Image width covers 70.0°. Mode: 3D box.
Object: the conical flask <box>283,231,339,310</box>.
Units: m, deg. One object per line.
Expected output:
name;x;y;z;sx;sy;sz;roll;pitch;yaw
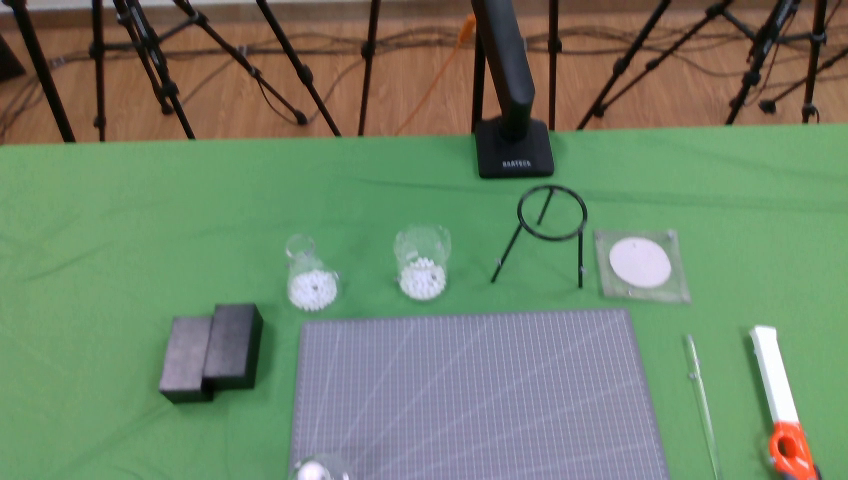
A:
conical flask;-0.158;0.036;0.805;0.075;0.123;0.074;0;57;1

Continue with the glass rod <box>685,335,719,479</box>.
glass rod;0.349;0.213;0.761;0.008;0.008;0.198;1;60;1

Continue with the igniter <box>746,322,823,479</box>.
igniter;0.441;0.230;0.738;0.057;0.025;0.274;8;58;-7

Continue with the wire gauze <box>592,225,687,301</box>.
wire gauze;0.311;0.028;0.878;0.125;0.011;0.120;4;58;0

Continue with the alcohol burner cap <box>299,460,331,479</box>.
alcohol burner cap;-0.115;0.244;0.631;0.034;0.048;0.033;2;61;-3

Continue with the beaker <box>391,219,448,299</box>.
beaker;-0.003;0.028;0.824;0.084;0.101;0.073;-36;64;-21

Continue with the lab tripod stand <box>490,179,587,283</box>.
lab tripod stand;0.160;-0.006;0.825;0.148;0.132;0.147;0;60;1

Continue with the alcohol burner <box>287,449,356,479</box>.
alcohol burner;-0.115;0.265;0.662;0.078;0.120;0.077;-1;57;2
